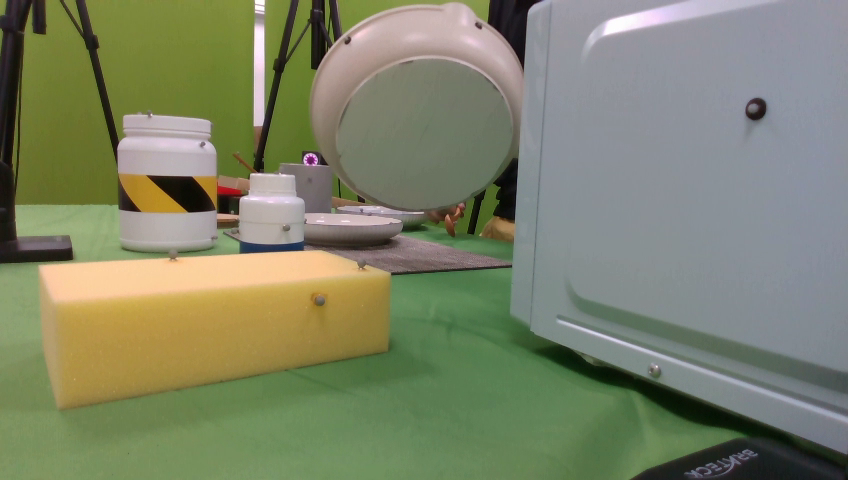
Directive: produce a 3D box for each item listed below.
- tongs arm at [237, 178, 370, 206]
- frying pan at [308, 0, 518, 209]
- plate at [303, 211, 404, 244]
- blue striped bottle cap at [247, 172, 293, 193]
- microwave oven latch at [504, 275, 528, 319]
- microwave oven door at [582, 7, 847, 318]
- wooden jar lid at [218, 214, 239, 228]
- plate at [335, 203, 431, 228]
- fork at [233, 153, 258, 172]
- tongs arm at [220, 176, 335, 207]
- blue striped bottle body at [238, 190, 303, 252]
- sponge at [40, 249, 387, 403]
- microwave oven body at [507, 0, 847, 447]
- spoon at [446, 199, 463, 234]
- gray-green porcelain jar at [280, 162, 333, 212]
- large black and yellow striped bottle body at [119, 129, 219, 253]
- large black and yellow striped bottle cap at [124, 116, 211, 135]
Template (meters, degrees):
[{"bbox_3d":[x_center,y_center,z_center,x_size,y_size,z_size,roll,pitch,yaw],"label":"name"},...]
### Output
[{"bbox_3d":[-0.241,-0.095,1.373,0.387,0.026,0.050,9,0,-37],"label":"tongs arm"},{"bbox_3d":[0.093,-0.147,0.827,0.490,0.306,0.102,3,43,-23],"label":"frying pan"},{"bbox_3d":[-0.139,-0.022,1.021,0.209,0.038,0.209,2,8,0],"label":"plate"},{"bbox_3d":[-0.152,-0.057,0.598,0.044,0.020,0.044,4,6,0],"label":"blue striped bottle cap"},{"bbox_3d":[0.100,0.042,0.469,0.079,0.029,0.030,-1,7,-25],"label":"microwave oven latch"},{"bbox_3d":[0.295,-0.067,0.569,0.358,0.243,0.039,-3,8,-31],"label":"microwave oven door"},{"bbox_3d":[-0.404,-0.037,1.169,0.108,0.020,0.108,3,7,0],"label":"wooden jar lid"},{"bbox_3d":[-0.089,-0.053,1.309,0.208,0.039,0.207,2,8,0],"label":"plate"},{"bbox_3d":[-0.396,-0.143,1.486,0.028,0.018,0.208,21,-26,45],"label":"fork"},{"bbox_3d":[-0.285,-0.104,1.445,0.389,0.027,0.028,9,-4,-23],"label":"tongs arm"},{"bbox_3d":[-0.153,-0.007,0.605,0.063,0.120,0.063,2,7,0],"label":"blue striped bottle body"},{"bbox_3d":[-0.142,0.047,0.419,0.208,0.061,0.117,-3,8,-36],"label":"sponge"},{"bbox_3d":[0.331,-0.042,0.425,0.444,0.260,0.324,-2,8,-31],"label":"microwave oven body"},{"bbox_3d":[0.061,-0.053,1.124,0.021,0.041,0.194,-14,15,16],"label":"spoon"},{"bbox_3d":[-0.238,-0.092,1.221,0.106,0.126,0.106,2,7,0],"label":"gray-green porcelain jar"},{"bbox_3d":[-0.367,-0.080,0.876,0.131,0.184,0.130,2,7,0],"label":"large black and yellow striped bottle body"},{"bbox_3d":[-0.366,-0.163,0.866,0.115,0.019,0.115,3,7,0],"label":"large black and yellow striped bottle cap"}]
